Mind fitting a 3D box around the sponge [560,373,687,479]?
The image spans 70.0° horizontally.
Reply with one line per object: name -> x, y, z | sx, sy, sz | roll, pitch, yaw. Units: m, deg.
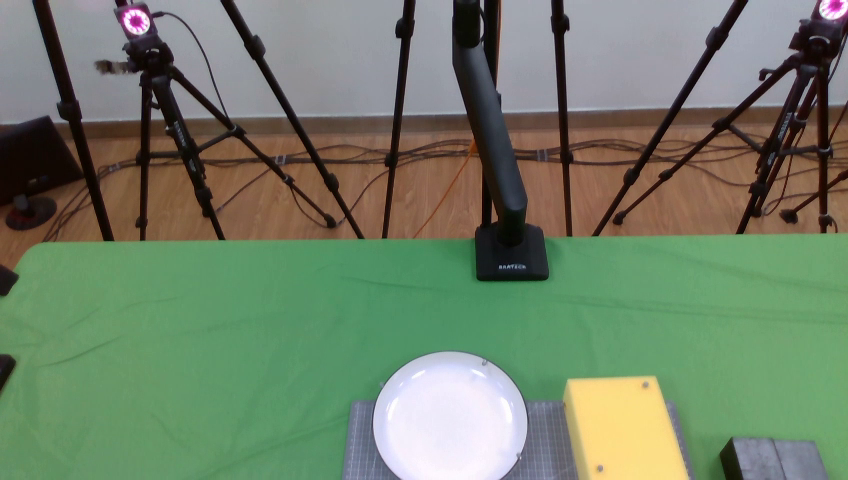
sponge -> 0.251, 0.273, 0.761 | 0.118, 0.061, 0.204 | -4, 47, 0

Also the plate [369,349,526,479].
plate -> 0.032, 0.244, 0.814 | 0.209, 0.038, 0.207 | -1, 47, 2
